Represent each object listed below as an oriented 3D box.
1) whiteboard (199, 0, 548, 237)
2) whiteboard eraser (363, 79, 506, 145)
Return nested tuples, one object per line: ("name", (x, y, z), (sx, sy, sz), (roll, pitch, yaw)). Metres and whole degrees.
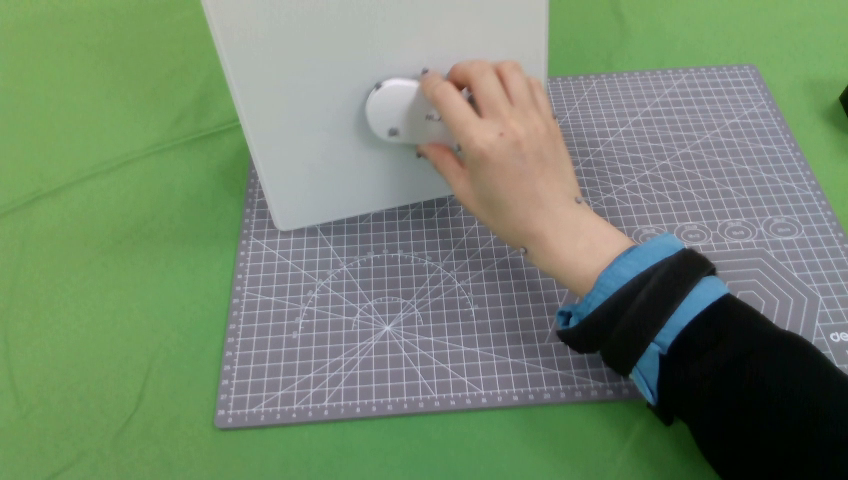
("whiteboard", (-0.038, -0.186, 0.430), (0.217, 0.308, 0.142), (-13, 38, -6))
("whiteboard eraser", (0.008, -0.088, 0.421), (0.102, 0.041, 0.018), (0, 33, -17))
